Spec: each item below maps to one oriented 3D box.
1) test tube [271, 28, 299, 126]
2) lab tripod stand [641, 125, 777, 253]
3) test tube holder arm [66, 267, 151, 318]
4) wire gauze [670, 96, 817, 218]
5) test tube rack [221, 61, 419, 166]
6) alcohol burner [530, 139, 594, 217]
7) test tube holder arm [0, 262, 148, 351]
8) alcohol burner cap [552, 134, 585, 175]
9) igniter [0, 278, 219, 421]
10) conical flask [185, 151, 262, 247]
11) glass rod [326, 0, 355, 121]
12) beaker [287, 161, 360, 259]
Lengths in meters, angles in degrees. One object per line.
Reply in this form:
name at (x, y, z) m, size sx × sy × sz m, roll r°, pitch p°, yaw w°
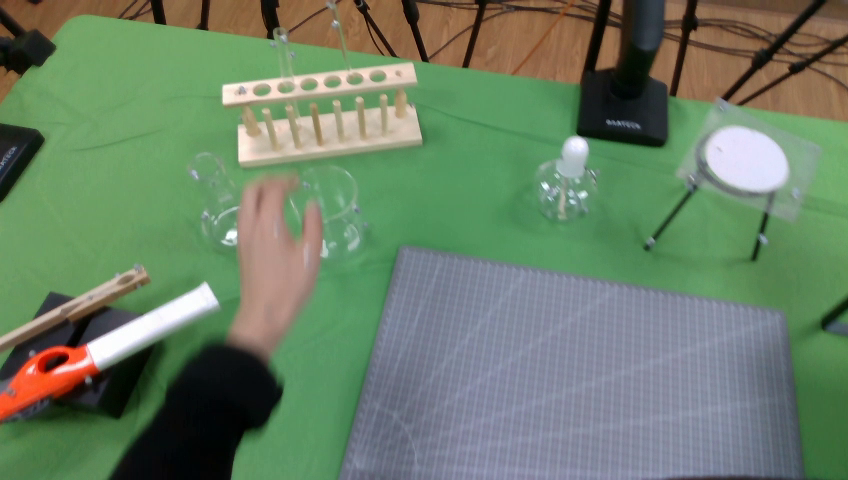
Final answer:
test tube at (-0.172, -0.199, 0.757) m, size 0.017 × 0.151 × 0.017 m, roll 2°, pitch 56°, yaw -3°
lab tripod stand at (0.334, -0.054, 0.698) m, size 0.148 × 0.132 × 0.147 m, roll 1°, pitch 58°, yaw -1°
test tube holder arm at (-0.336, 0.056, 0.643) m, size 0.088 × 0.015 × 0.010 m, roll -29°, pitch 63°, yaw -17°
wire gauze at (0.341, -0.090, 0.640) m, size 0.121 × 0.011 × 0.124 m, roll 29°, pitch 64°, yaw 15°
test tube rack at (-0.132, -0.165, 0.794) m, size 0.242 × 0.086 × 0.066 m, roll -9°, pitch 59°, yaw -5°
alcohol burner at (0.169, -0.081, 0.727) m, size 0.078 × 0.120 × 0.077 m, roll 1°, pitch 57°, yaw -1°
test tube holder arm at (-0.376, 0.073, 0.632) m, size 0.178 × 0.015 × 0.013 m, roll -30°, pitch 63°, yaw -18°
alcohol burner cap at (0.168, -0.101, 0.696) m, size 0.034 × 0.048 × 0.033 m, roll 0°, pitch 58°, yaw 0°
igniter at (-0.341, 0.117, 0.602) m, size 0.277 × 0.025 × 0.057 m, roll -29°, pitch 64°, yaw -20°
conical flask at (-0.238, -0.051, 0.703) m, size 0.075 × 0.123 × 0.074 m, roll 0°, pitch 58°, yaw 1°
glass rod at (-0.102, -0.226, 0.753) m, size 0.008 × 0.201 × 0.008 m, roll -3°, pitch 51°, yaw 4°
beaker at (-0.114, -0.028, 0.703) m, size 0.073 × 0.101 × 0.083 m, roll 23°, pitch 62°, yaw 14°
